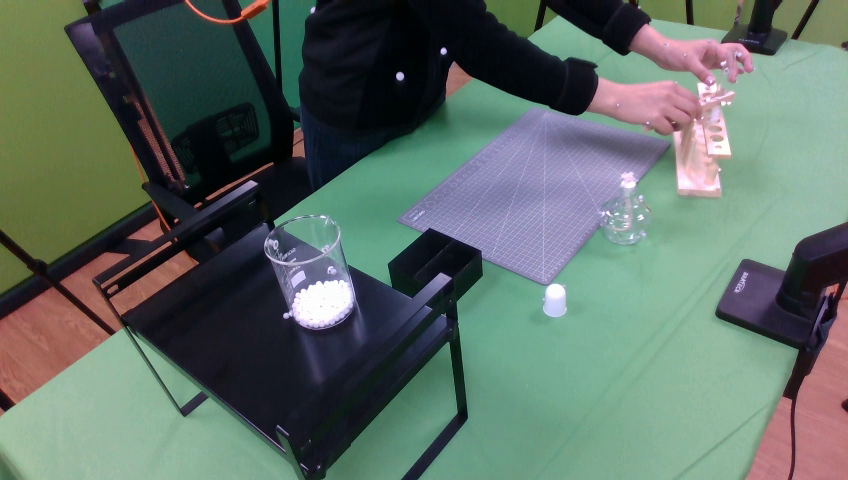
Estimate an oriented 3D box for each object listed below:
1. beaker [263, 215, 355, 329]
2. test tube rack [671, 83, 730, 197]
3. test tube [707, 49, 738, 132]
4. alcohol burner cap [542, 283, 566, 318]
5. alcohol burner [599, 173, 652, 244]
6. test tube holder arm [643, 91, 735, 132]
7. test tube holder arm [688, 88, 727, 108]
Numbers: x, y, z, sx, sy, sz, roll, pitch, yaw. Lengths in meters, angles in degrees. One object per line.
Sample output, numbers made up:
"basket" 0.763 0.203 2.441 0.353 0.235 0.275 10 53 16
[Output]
"beaker" -0.111 0.034 0.616 0.073 0.101 0.084 13 44 23
"test tube rack" 0.483 -0.183 1.067 0.066 0.085 0.242 5 42 15
"test tube" 0.488 -0.241 0.994 0.017 0.151 0.017 -2 42 3
"alcohol burner cap" 0.182 0.081 0.839 0.034 0.048 0.033 -3 40 3
"alcohol burner" 0.308 -0.052 0.920 0.078 0.119 0.077 -5 42 5
"test tube holder arm" 0.430 -0.208 0.978 0.179 0.015 0.013 -22 42 -15
"test tube holder arm" 0.466 -0.229 0.995 0.088 0.015 0.010 -29 45 -22
